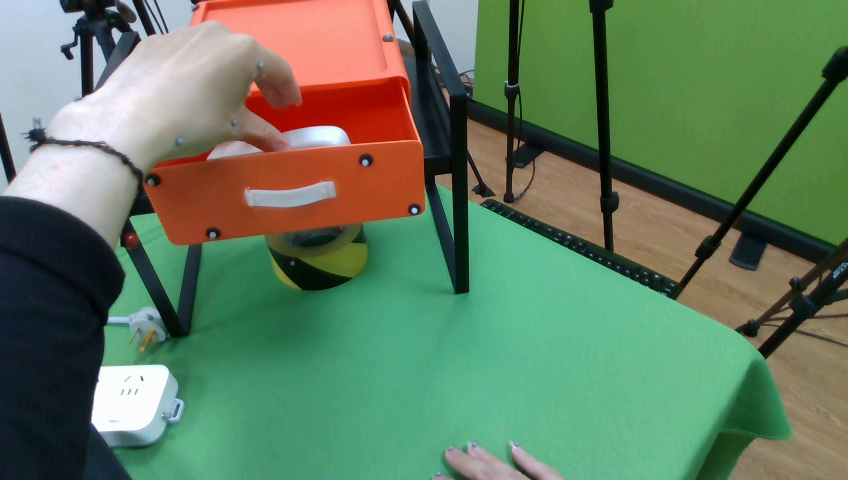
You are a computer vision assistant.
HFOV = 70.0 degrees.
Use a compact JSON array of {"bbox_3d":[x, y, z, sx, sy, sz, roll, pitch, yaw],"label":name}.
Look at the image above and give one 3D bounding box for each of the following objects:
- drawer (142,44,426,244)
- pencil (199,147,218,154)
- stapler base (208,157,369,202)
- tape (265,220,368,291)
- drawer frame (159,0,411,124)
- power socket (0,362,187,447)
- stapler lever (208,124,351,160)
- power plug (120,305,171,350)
[{"bbox_3d":[-0.110,-0.099,0.514,0.195,0.074,0.209,-8,42,-4],"label":"drawer"},{"bbox_3d":[-0.122,-0.074,0.516,0.193,0.012,0.012,4,42,24],"label":"pencil"},{"bbox_3d":[-0.112,-0.052,0.495,0.130,0.024,0.041,0,36,8],"label":"stapler base"},{"bbox_3d":[-0.121,-0.001,0.696,0.117,0.053,0.115,-1,44,1],"label":"tape"},{"bbox_3d":[-0.125,-0.161,0.580,0.202,0.083,0.211,-8,42,-5],"label":"drawer frame"},{"bbox_3d":[-0.336,0.151,0.556,0.227,0.033,0.071,-2,42,2],"label":"power socket"},{"bbox_3d":[-0.115,-0.071,0.480,0.118,0.040,0.026,2,37,7],"label":"stapler lever"},{"bbox_3d":[-0.292,0.096,0.627,0.072,0.035,0.052,-29,28,28],"label":"power plug"}]
